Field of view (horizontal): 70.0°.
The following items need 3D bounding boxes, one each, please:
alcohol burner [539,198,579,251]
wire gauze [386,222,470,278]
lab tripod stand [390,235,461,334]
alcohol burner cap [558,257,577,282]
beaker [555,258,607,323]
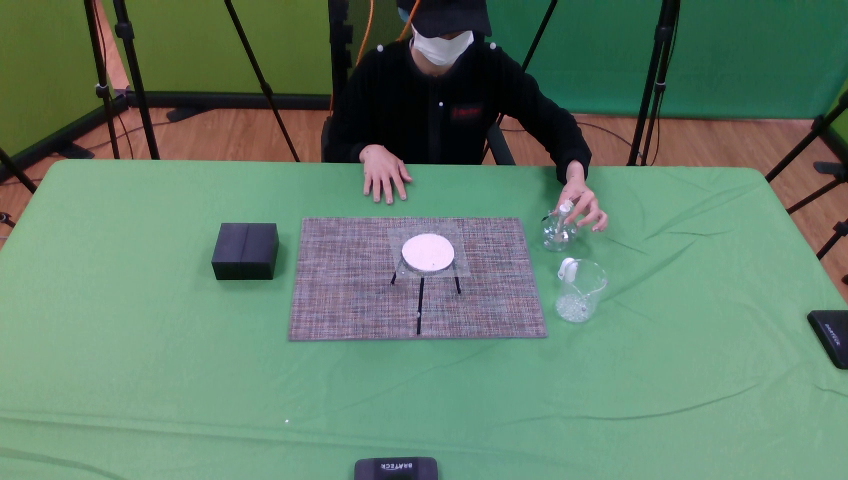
[{"bbox_3d":[0.267,-0.035,1.185,0.078,0.120,0.077,0,47,0],"label":"alcohol burner"},{"bbox_3d":[0.004,0.016,1.005,0.125,0.011,0.120,-5,46,-8],"label":"wire gauze"},{"bbox_3d":[-0.002,0.067,1.050,0.148,0.132,0.147,1,47,-1],"label":"lab tripod stand"},{"bbox_3d":[0.276,0.053,1.154,0.034,0.048,0.033,1,46,-1],"label":"alcohol burner cap"},{"bbox_3d":[0.275,0.094,1.073,0.074,0.101,0.083,10,47,6],"label":"beaker"}]
